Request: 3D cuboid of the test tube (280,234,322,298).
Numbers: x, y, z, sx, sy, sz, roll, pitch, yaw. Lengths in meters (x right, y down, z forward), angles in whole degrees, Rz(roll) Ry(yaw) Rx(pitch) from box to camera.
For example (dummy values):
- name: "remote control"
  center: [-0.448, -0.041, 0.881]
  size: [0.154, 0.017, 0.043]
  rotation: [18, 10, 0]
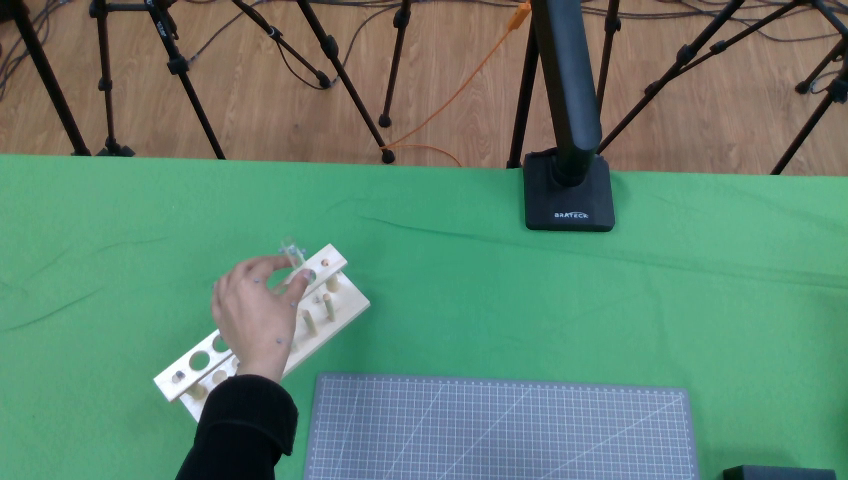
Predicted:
- name: "test tube"
  center: [-0.140, 0.034, 0.703]
  size: [0.017, 0.151, 0.017]
  rotation: [-1, 62, 3]

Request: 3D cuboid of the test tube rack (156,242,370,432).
- name: "test tube rack"
  center: [-0.180, 0.114, 0.719]
  size: [0.242, 0.086, 0.066]
  rotation: [-39, 70, -17]
